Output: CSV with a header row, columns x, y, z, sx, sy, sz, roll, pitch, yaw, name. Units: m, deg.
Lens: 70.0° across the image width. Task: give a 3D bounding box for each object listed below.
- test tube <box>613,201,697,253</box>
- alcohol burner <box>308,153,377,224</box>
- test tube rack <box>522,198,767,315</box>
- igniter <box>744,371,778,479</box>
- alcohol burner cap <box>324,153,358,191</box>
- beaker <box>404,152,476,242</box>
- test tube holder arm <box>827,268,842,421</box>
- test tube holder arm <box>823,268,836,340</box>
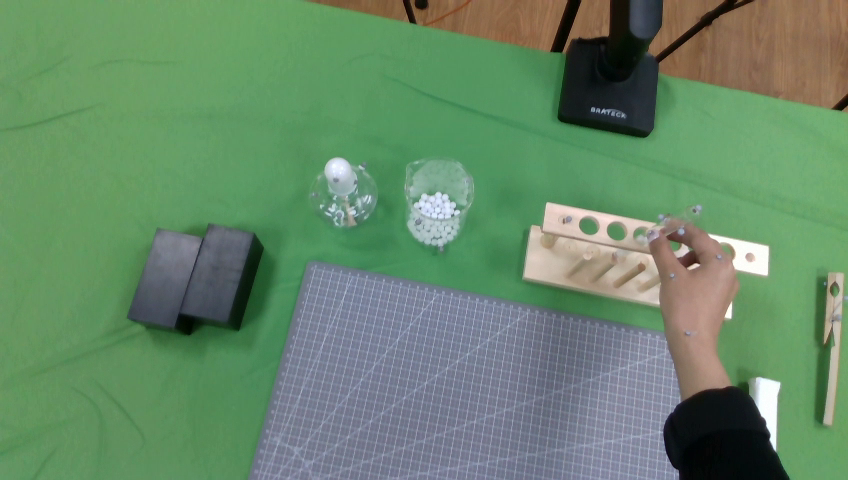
x,y,z,sx,sy,sz,roll,pitch,yaw,name
0.237,-0.010,0.636,0.017,0.150,0.017,3,74,-9,test tube
-0.091,-0.063,0.670,0.078,0.120,0.077,1,71,-3,alcohol burner
0.241,0.021,0.680,0.242,0.085,0.066,11,72,0,test tube rack
0.350,0.277,0.638,0.057,0.025,0.275,16,72,-9,igniter
-0.089,-0.074,0.635,0.034,0.048,0.033,0,77,1,alcohol burner cap
0.012,-0.045,0.679,0.083,0.101,0.074,39,74,10,beaker
0.473,0.117,0.697,0.013,0.015,0.177,0,69,34,test tube holder arm
0.478,0.075,0.713,0.010,0.015,0.087,2,70,34,test tube holder arm
